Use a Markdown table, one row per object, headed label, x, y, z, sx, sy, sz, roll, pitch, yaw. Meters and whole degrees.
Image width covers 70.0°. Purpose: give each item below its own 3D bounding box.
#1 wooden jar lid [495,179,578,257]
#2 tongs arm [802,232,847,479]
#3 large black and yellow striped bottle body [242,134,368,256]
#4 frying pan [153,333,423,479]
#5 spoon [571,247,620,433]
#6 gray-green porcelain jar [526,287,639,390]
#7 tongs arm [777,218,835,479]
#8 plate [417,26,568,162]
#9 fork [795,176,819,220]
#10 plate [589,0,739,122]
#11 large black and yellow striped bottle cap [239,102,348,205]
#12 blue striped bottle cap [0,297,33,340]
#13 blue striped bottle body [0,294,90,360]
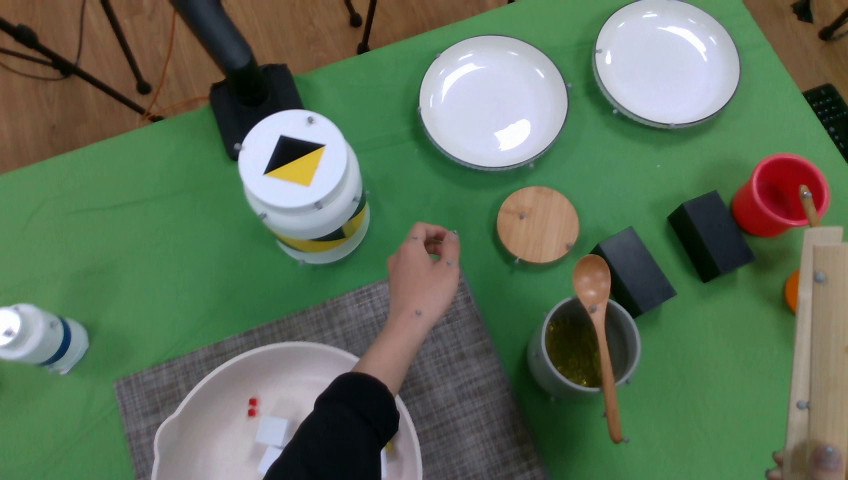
| label | x | y | z | sx | sy | sz | roll | pitch | yaw |
| --- | --- | --- | --- | --- | --- | --- | --- | --- | --- |
| wooden jar lid | 0.148 | -0.029 | 0.804 | 0.108 | 0.021 | 0.108 | 0 | 75 | -1 |
| tongs arm | 0.293 | 0.174 | 0.459 | 0.026 | 0.050 | 0.386 | -5 | 105 | 13 |
| large black and yellow striped bottle body | -0.139 | -0.066 | 0.728 | 0.131 | 0.185 | 0.130 | 0 | 72 | 0 |
| frying pan | -0.181 | 0.342 | 0.640 | 0.306 | 0.103 | 0.485 | 19 | 65 | 6 |
| spoon | 0.185 | 0.103 | 0.634 | 0.042 | 0.022 | 0.192 | -3 | 76 | -8 |
| gray-green porcelain jar | 0.177 | 0.118 | 0.703 | 0.106 | 0.127 | 0.105 | 0 | 72 | 0 |
| tongs arm | 0.297 | 0.167 | 0.478 | 0.028 | 0.028 | 0.390 | -6 | 110 | 9 |
| plate | 0.094 | -0.200 | 0.847 | 0.208 | 0.039 | 0.206 | 0 | 73 | 0 |
| fork | 0.471 | 0.008 | 0.726 | 0.028 | 0.018 | 0.209 | -33 | 120 | -2 |
| plate | 0.338 | -0.258 | 0.865 | 0.209 | 0.038 | 0.208 | 0 | 73 | 0 |
| large black and yellow striped bottle cap | -0.139 | -0.093 | 0.648 | 0.115 | 0.019 | 0.114 | 0 | 74 | -1 |
| blue striped bottle cap | -0.453 | 0.085 | 0.657 | 0.044 | 0.021 | 0.044 | 0 | 74 | -1 |
| blue striped bottle body | -0.451 | 0.101 | 0.706 | 0.063 | 0.121 | 0.062 | 0 | 72 | 0 |
